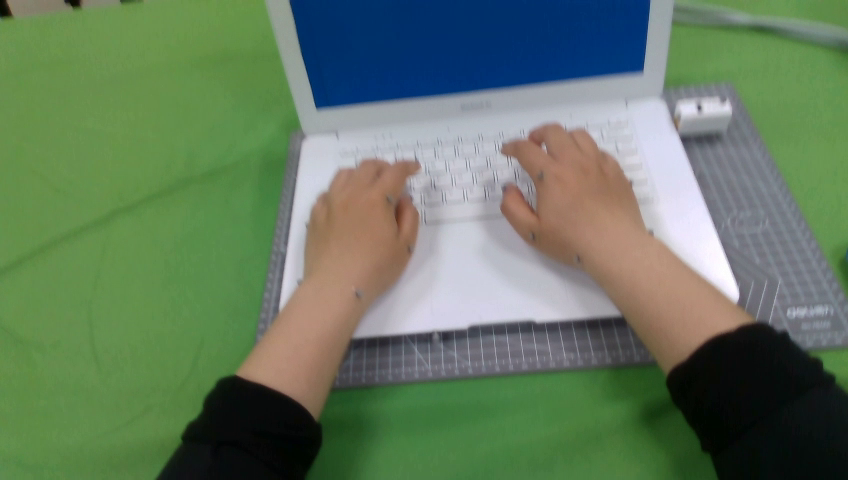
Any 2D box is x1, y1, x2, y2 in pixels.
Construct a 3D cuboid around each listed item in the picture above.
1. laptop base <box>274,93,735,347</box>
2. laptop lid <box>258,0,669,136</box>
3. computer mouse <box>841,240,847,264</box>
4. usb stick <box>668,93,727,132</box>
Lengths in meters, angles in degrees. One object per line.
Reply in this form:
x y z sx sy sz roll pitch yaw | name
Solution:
0.053 -0.025 0.528 0.354 0.023 0.233 -6 55 4 | laptop base
0.034 -0.208 0.523 0.356 0.244 0.013 -7 40 5 | laptop lid
0.353 0.034 0.426 0.063 0.041 0.116 -10 48 5 | computer mouse
0.240 -0.115 0.552 0.059 0.027 0.021 -7 53 8 | usb stick
